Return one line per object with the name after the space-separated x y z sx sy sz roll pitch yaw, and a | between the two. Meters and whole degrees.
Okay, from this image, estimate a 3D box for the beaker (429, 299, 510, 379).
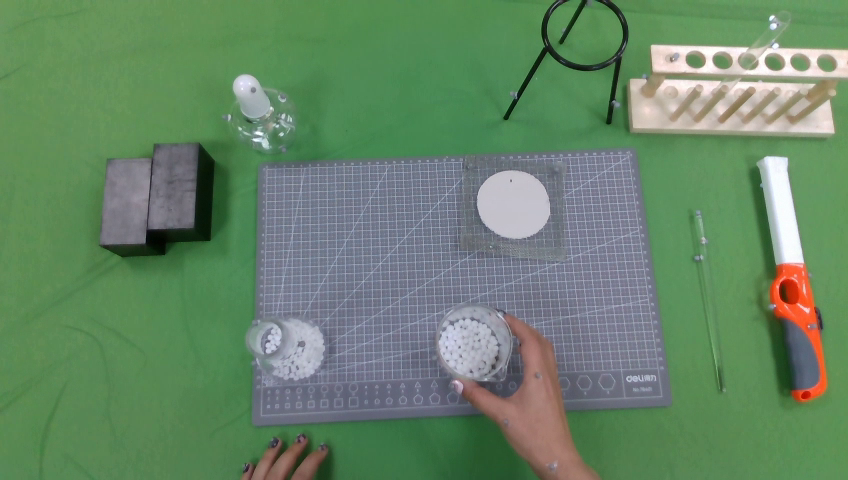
0.046 0.107 0.619 0.074 0.100 0.083 -38 79 -9 | beaker

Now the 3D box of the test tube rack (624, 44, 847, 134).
0.368 -0.173 0.704 0.242 0.085 0.066 1 75 0 | test tube rack

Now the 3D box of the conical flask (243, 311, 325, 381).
-0.145 0.101 0.607 0.075 0.122 0.075 0 75 0 | conical flask

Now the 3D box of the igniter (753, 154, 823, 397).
0.408 0.034 0.682 0.057 0.025 0.275 2 76 -10 | igniter

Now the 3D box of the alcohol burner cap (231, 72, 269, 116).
-0.186 -0.158 0.642 0.034 0.048 0.033 0 69 -1 | alcohol burner cap

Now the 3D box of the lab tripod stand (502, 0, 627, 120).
0.161 -0.199 0.684 0.148 0.132 0.147 0 78 0 | lab tripod stand

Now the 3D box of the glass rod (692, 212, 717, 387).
0.316 0.064 0.683 0.008 0.008 0.199 -1 78 -1 | glass rod

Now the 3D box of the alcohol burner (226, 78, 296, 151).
-0.186 -0.146 0.677 0.078 0.119 0.077 0 76 1 | alcohol burner

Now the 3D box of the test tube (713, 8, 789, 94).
0.351 -0.200 0.660 0.017 0.151 0.017 -1 75 2 | test tube

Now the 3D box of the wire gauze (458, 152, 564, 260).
0.103 -0.042 0.705 0.125 0.011 0.121 6 76 -2 | wire gauze
